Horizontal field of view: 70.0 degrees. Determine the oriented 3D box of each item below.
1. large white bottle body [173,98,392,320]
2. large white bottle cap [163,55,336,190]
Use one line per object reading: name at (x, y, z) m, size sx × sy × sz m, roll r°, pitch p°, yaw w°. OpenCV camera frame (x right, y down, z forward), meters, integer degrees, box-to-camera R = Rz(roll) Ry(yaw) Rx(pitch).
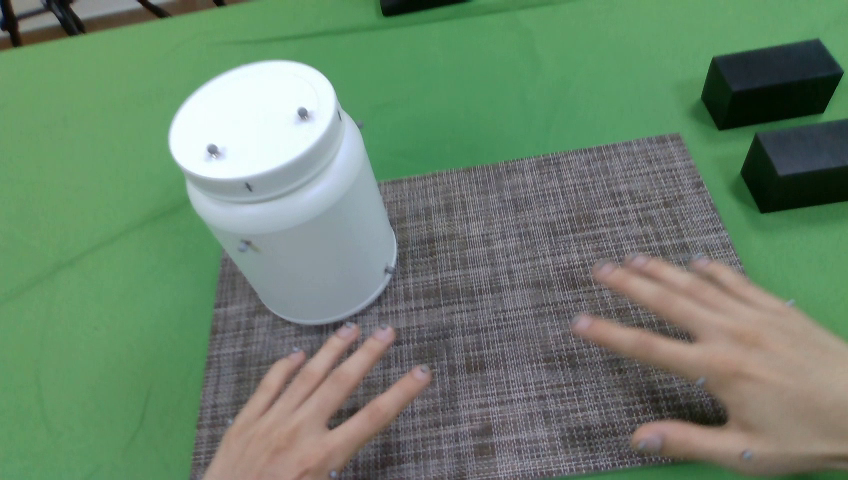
large white bottle body at (-0.104, -0.034, 0.475) m, size 0.130 × 0.186 × 0.129 m, roll -5°, pitch 55°, yaw 7°
large white bottle cap at (-0.117, -0.082, 0.407) m, size 0.115 × 0.018 × 0.113 m, roll -5°, pitch 54°, yaw 7°
